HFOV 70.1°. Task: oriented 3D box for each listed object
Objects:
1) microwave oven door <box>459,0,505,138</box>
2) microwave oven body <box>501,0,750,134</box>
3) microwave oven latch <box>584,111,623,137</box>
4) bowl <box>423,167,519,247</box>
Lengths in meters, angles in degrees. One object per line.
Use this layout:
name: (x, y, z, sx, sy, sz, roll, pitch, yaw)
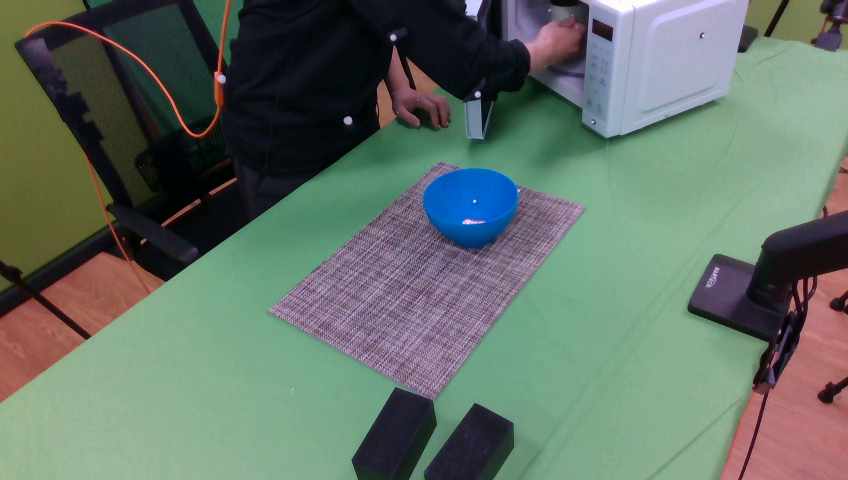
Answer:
microwave oven door: (0.124, -0.404, 1.227, 0.039, 0.245, 0.355, 3, 42, 13)
microwave oven body: (0.382, -0.445, 1.246, 0.327, 0.261, 0.437, -22, 42, -16)
microwave oven latch: (0.337, -0.222, 1.142, 0.030, 0.029, 0.078, -21, 42, -14)
bowl: (0.075, -0.041, 0.958, 0.151, 0.077, 0.150, -4, 40, 4)
